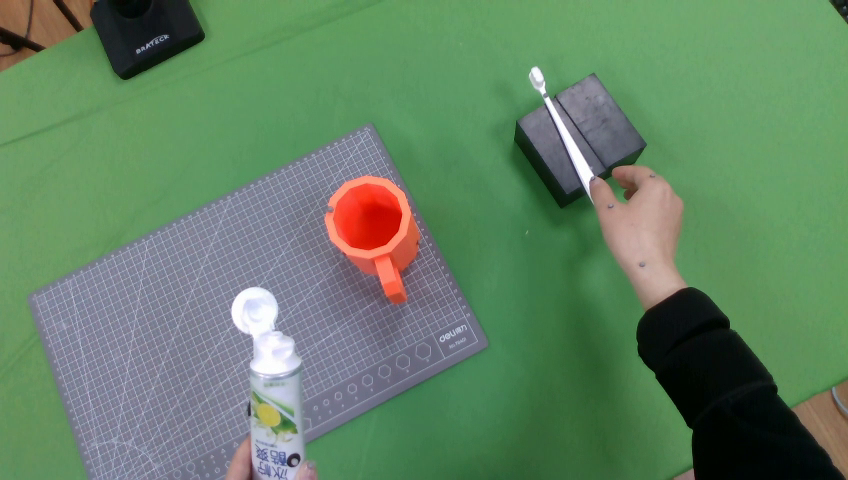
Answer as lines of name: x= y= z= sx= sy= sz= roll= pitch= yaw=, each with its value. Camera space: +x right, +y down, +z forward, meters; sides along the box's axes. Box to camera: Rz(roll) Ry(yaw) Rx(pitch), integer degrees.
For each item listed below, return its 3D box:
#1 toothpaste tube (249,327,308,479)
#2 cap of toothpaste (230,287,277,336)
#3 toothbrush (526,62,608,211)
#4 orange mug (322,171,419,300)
toothpaste tube: x=-0.108 y=0.141 z=0.443 sx=0.055 sy=0.034 sz=0.165 roll=7 pitch=106 yaw=25
cap of toothpaste: x=-0.121 y=0.051 z=0.436 sx=0.037 sy=0.011 sz=0.037 roll=8 pitch=77 yaw=-38
toothbrush: x=0.151 y=-0.112 z=0.640 sx=0.014 sy=0.017 sz=0.181 roll=-22 pitch=77 yaw=-4
orange mug: x=-0.048 y=-0.001 z=0.636 sx=0.083 sy=0.101 sz=0.125 roll=-19 pitch=72 yaw=0
